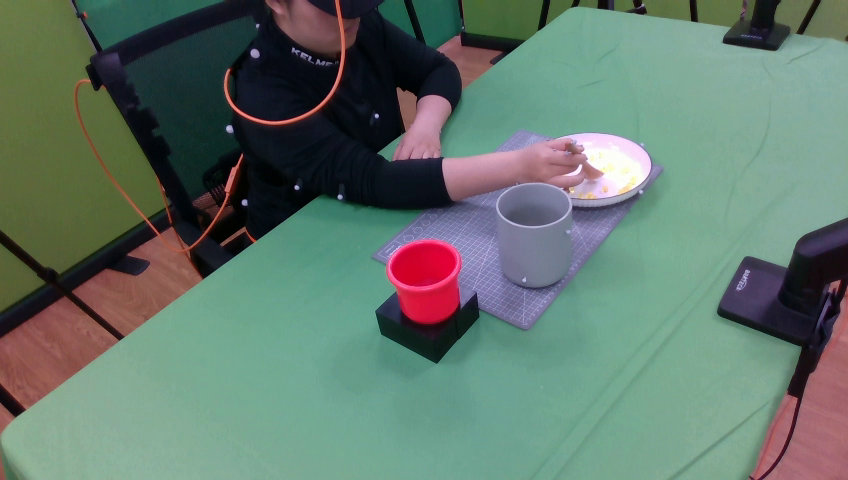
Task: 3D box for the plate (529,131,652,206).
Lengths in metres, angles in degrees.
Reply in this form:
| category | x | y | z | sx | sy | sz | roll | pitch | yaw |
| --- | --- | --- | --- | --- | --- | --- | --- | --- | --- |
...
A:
| category | x | y | z | sx | sy | sz | roll | pitch | yaw |
| --- | --- | --- | --- | --- | --- | --- | --- | --- | --- |
| plate | 0.287 | -0.121 | 1.056 | 0.207 | 0.039 | 0.206 | -5 | 40 | 5 |

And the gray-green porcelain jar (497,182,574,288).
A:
| category | x | y | z | sx | sy | sz | roll | pitch | yaw |
| --- | --- | --- | --- | --- | --- | --- | --- | --- | --- |
| gray-green porcelain jar | 0.161 | -0.003 | 0.870 | 0.106 | 0.127 | 0.105 | -5 | 40 | 5 |

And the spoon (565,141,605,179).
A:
| category | x | y | z | sx | sy | sz | roll | pitch | yaw |
| --- | --- | --- | --- | --- | --- | --- | --- | --- | --- |
| spoon | 0.252 | -0.126 | 0.961 | 0.041 | 0.195 | 0.021 | -3 | 76 | 28 |
